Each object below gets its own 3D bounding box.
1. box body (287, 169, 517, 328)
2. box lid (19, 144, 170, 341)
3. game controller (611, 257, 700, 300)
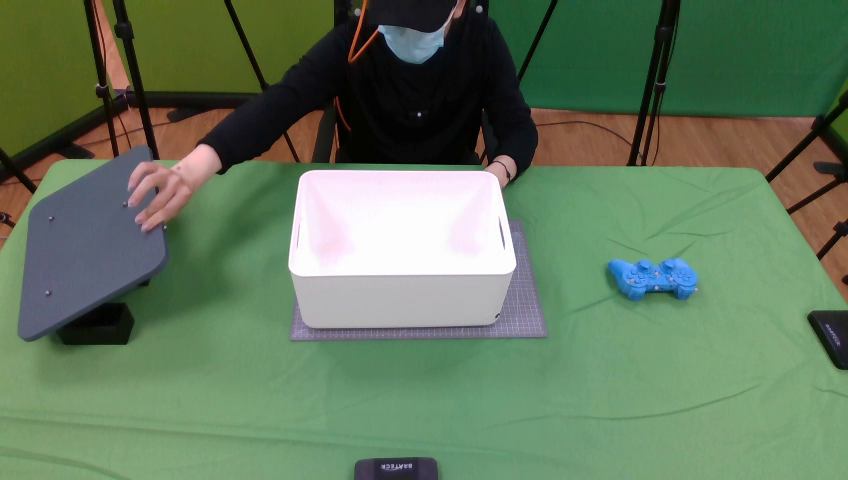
[{"bbox_3d":[-0.040,0.015,1.075,0.364,0.161,0.252,-1,47,-4],"label":"box body"},{"bbox_3d":[-0.573,-0.013,1.053,0.263,0.015,0.369,-30,47,-2],"label":"box lid"},{"bbox_3d":[0.441,0.063,1.144,0.155,0.052,0.096,-1,50,-4],"label":"game controller"}]
